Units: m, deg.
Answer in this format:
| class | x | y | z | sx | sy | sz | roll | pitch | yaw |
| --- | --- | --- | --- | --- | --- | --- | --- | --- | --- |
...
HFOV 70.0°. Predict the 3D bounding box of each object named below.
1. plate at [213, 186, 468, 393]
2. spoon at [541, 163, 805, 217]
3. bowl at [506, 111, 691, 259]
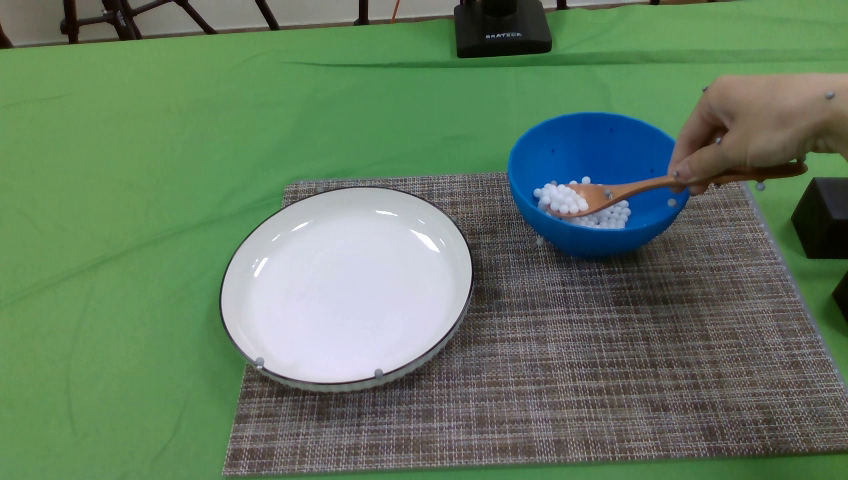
| class | x | y | z | sx | sy | sz | roll | pitch | yaw |
| --- | --- | --- | --- | --- | --- | --- | --- | --- | --- |
| plate | -0.067 | 0.039 | 0.509 | 0.207 | 0.039 | 0.205 | -2 | 48 | 3 |
| spoon | 0.182 | -0.041 | 0.470 | 0.193 | 0.022 | 0.041 | -8 | 38 | 38 |
| bowl | 0.145 | -0.036 | 0.531 | 0.151 | 0.077 | 0.150 | -2 | 49 | 2 |
